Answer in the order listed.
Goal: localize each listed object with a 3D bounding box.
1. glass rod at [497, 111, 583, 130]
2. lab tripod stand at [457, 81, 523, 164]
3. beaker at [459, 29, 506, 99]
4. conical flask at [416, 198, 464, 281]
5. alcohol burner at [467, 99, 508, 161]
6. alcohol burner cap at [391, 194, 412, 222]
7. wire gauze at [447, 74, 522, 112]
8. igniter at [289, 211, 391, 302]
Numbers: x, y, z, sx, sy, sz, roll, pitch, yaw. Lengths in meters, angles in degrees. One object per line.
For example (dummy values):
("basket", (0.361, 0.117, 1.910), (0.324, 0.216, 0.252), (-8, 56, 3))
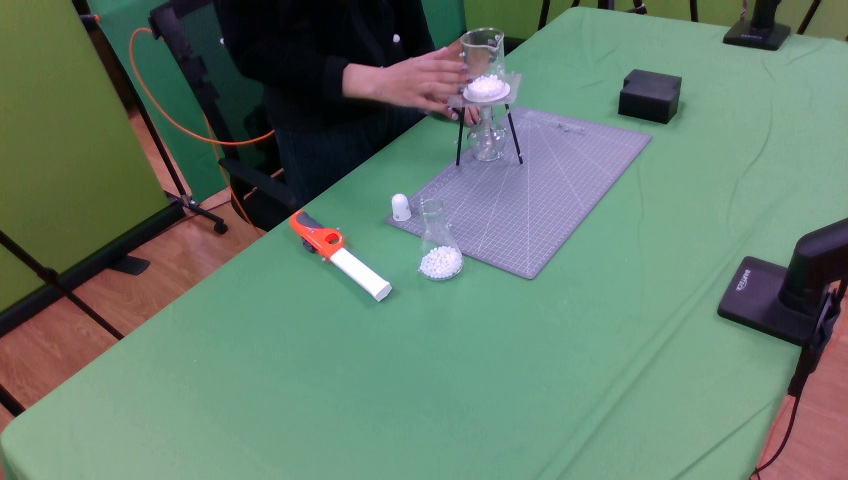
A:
("glass rod", (0.233, -0.245, 1.235), (0.198, 0.008, 0.008), (20, 49, 34))
("lab tripod stand", (0.120, -0.219, 1.130), (0.148, 0.132, 0.147), (-7, 39, 6))
("beaker", (0.107, -0.305, 1.056), (0.074, 0.101, 0.083), (-27, 43, -18))
("conical flask", (0.019, -0.004, 0.907), (0.075, 0.122, 0.075), (-5, 40, 5))
("alcohol burner", (0.119, -0.210, 1.134), (0.078, 0.119, 0.077), (-4, 39, 4))
("alcohol burner cap", (-0.041, -0.057, 1.040), (0.034, 0.048, 0.033), (-6, 40, 5))
("wire gauze", (0.110, -0.268, 1.087), (0.121, 0.011, 0.125), (1, 43, 15))
("igniter", (-0.146, 0.019, 0.986), (0.057, 0.025, 0.274), (-40, 48, -18))
